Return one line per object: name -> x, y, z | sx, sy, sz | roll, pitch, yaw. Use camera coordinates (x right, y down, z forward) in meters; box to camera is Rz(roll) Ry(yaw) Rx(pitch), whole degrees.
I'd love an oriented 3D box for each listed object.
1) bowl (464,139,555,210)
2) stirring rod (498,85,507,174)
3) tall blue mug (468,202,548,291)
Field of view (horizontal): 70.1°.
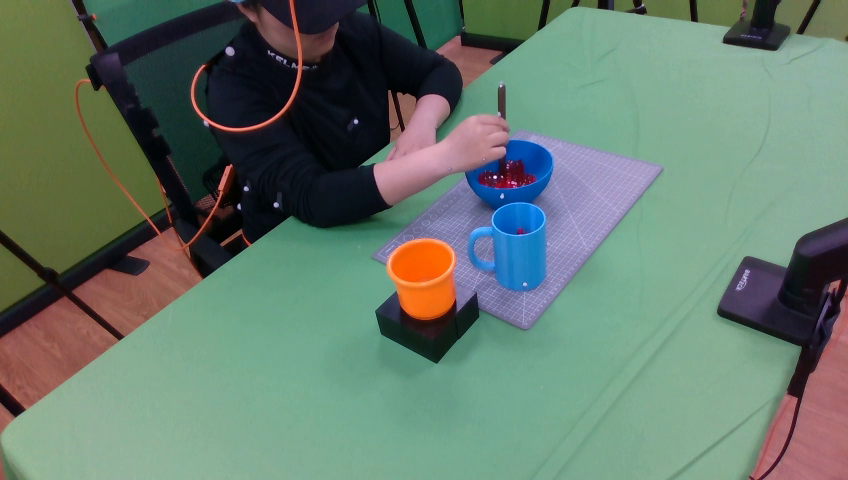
bowl -> 0.145, -0.100, 1.025 | 0.151, 0.077, 0.150 | -5, 40, 5
stirring rod -> 0.130, -0.178, 0.997 | 0.014, 0.177, 0.005 | -33, 51, -21
tall blue mug -> 0.125, 0.015, 0.869 | 0.107, 0.108, 0.077 | -21, 42, -14
